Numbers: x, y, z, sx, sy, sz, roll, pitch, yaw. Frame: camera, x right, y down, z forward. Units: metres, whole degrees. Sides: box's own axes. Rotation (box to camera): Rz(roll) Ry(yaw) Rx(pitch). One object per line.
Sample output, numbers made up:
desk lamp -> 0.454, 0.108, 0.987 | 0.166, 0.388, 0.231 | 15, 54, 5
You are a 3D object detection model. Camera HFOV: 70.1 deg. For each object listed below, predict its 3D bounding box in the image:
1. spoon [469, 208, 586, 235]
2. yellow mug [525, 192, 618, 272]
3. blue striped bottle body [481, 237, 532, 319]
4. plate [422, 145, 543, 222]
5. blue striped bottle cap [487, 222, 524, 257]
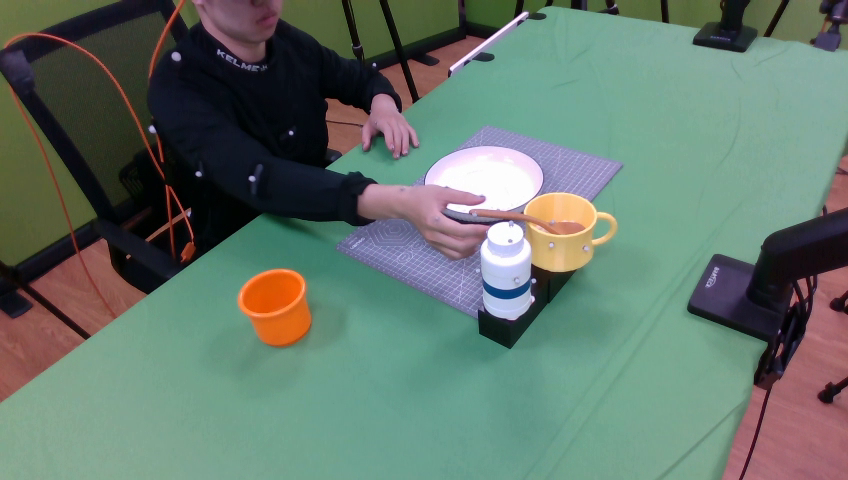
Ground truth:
spoon -> 0.143, -0.026, 0.817 | 0.195, 0.021, 0.041 | 12, 35, -29
yellow mug -> 0.206, -0.013, 0.845 | 0.131, 0.064, 0.099 | -4, 40, 2
blue striped bottle body -> 0.104, 0.037, 0.756 | 0.063, 0.121, 0.063 | -4, 40, 4
plate -> 0.101, -0.094, 1.048 | 0.207, 0.039, 0.206 | -4, 41, 4
blue striped bottle cap -> 0.097, -0.001, 0.722 | 0.044, 0.021, 0.044 | -2, 39, 2
